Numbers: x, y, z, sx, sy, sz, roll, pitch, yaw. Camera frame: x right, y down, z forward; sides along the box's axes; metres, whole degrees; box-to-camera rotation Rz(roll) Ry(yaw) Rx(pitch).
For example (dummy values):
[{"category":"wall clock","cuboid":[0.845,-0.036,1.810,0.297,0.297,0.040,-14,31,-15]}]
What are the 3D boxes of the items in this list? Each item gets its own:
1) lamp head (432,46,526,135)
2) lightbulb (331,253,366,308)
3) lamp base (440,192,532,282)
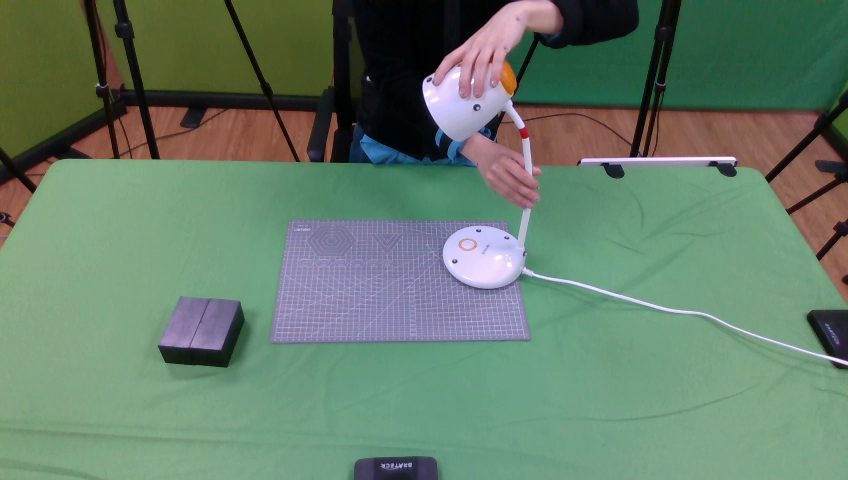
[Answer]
[{"category":"lamp head","cuboid":[0.093,-0.229,0.906,0.123,0.113,0.112,-21,39,27]},{"category":"lightbulb","cuboid":[-0.131,0.074,1.094,0.059,0.060,0.107,-15,64,-18]},{"category":"lamp base","cuboid":[0.127,-0.032,1.123,0.179,0.181,0.159,10,47,2]}]
